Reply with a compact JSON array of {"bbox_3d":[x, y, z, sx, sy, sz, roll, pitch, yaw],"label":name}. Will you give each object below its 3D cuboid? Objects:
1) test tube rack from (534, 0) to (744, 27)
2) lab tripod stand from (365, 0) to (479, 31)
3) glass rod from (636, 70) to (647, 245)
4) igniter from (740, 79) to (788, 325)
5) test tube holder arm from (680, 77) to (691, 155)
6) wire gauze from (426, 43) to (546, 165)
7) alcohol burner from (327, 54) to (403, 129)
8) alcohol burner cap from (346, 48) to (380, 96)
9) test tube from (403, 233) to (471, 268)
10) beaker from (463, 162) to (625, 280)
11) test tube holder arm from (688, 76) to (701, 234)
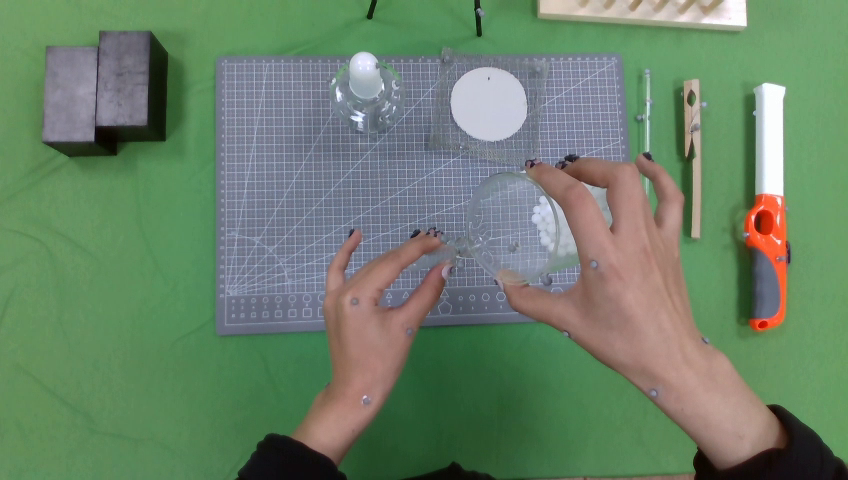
[{"bbox_3d":[0.250,-0.291,0.664,0.243,0.085,0.066,2,82,-4],"label":"test tube rack"},{"bbox_3d":[0.006,-0.287,0.621,0.148,0.131,0.148,0,84,-4],"label":"lab tripod stand"},{"bbox_3d":[0.243,-0.093,0.677,0.008,0.008,0.199,4,85,-4],"label":"glass rod"},{"bbox_3d":[0.377,-0.043,0.671,0.057,0.025,0.275,7,82,-14],"label":"igniter"},{"bbox_3d":[0.296,-0.139,0.683,0.010,0.015,0.087,-3,83,31],"label":"test tube holder arm"},{"bbox_3d":[0.070,-0.152,0.670,0.125,0.011,0.121,9,83,-4],"label":"wire gauze"},{"bbox_3d":[-0.060,-0.155,0.607,0.078,0.119,0.077,0,83,-2],"label":"alcohol burner"},{"bbox_3d":[-0.058,-0.162,0.572,0.034,0.048,0.033,1,77,-4],"label":"alcohol burner cap"},{"bbox_3d":[0.007,0.010,0.493,0.017,0.150,0.017,2,83,-16],"label":"test tube"},{"bbox_3d":[0.086,-0.016,0.425,0.101,0.084,0.074,-12,81,-44],"label":"beaker"},{"bbox_3d":[0.300,-0.095,0.676,0.013,0.015,0.178,-4,82,31],"label":"test tube holder arm"}]
